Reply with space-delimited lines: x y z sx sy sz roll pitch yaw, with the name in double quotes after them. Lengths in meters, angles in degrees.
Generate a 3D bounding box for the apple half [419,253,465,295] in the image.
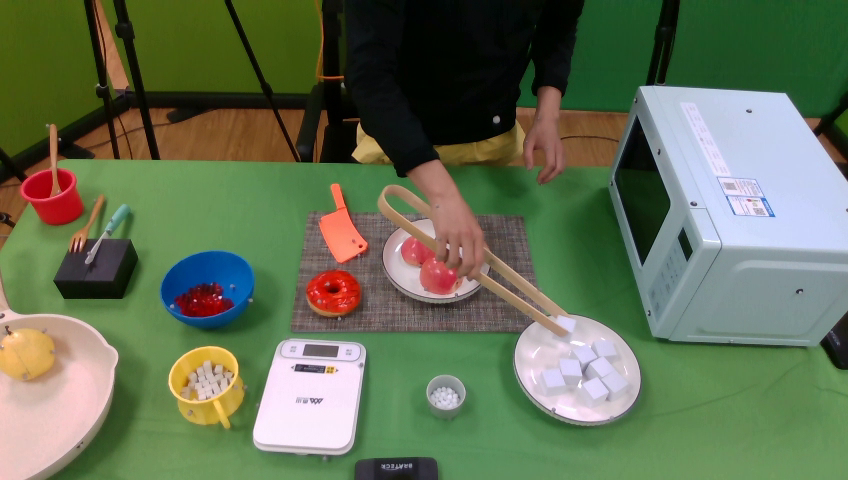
0.035 0.055 1.109 0.074 0.053 0.081 38 55 25 "apple half"

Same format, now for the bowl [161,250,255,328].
-0.362 0.098 1.039 0.151 0.077 0.150 2 45 -2 "bowl"

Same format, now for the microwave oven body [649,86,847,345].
0.567 -0.053 1.118 0.326 0.261 0.439 2 45 -1 "microwave oven body"

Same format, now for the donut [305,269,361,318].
-0.160 0.095 1.075 0.099 0.048 0.098 4 45 -3 "donut"

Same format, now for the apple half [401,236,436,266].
-0.005 0.014 1.159 0.081 0.033 0.081 5 44 -4 "apple half"

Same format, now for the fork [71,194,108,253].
-0.634 -0.036 1.158 0.028 0.019 0.206 -8 31 -8 "fork"

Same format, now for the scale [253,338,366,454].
-0.175 0.236 0.951 0.149 0.032 0.199 4 46 0 "scale"

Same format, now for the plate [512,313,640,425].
0.246 0.213 0.999 0.208 0.039 0.206 2 46 -2 "plate"

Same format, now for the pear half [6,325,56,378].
-0.608 0.158 0.935 0.076 0.110 0.056 31 51 20 "pear half"

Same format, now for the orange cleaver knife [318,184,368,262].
-0.173 -0.037 1.218 0.077 0.012 0.210 -16 50 -12 "orange cleaver knife"

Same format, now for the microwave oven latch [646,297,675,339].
0.412 0.134 1.061 0.030 0.029 0.078 4 45 1 "microwave oven latch"

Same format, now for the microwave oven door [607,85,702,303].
0.423 -0.094 1.140 0.039 0.245 0.353 2 46 -1 "microwave oven door"

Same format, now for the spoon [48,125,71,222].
-0.718 -0.131 1.188 0.041 0.021 0.193 -3 90 -7 "spoon"

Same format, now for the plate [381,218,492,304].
0.023 0.042 1.143 0.209 0.038 0.208 2 46 -2 "plate"

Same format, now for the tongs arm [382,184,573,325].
0.087 0.029 1.015 0.384 0.026 0.050 39 51 2 "tongs arm"

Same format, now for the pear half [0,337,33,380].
-0.631 0.184 0.921 0.070 0.088 0.031 29 49 19 "pear half"

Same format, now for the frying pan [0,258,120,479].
-0.647 0.164 0.936 0.307 0.103 0.485 -19 58 -22 "frying pan"

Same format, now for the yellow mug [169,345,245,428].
-0.322 0.230 0.922 0.100 0.064 0.130 -24 53 -25 "yellow mug"

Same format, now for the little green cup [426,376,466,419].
0.033 0.248 0.950 0.061 0.039 0.061 2 46 -2 "little green cup"

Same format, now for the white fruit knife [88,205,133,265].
-0.584 -0.013 1.129 0.016 0.027 0.206 0 31 -5 "white fruit knife"

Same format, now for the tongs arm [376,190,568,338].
0.077 0.043 1.001 0.387 0.028 0.028 36 54 -1 "tongs arm"
